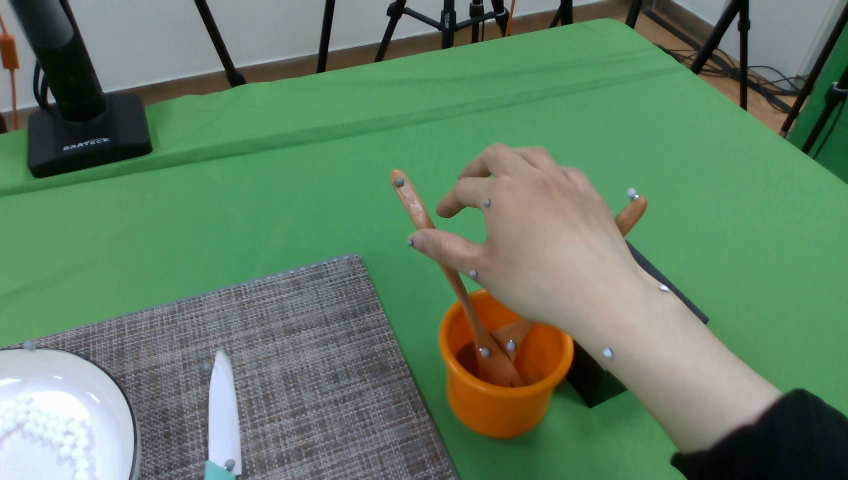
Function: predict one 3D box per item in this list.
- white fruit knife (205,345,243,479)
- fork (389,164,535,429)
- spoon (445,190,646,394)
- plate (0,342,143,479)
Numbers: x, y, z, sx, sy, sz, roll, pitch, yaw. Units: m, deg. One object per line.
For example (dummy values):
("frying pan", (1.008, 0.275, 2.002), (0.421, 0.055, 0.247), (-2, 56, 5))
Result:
("white fruit knife", (-0.134, 0.153, 0.405), (0.027, 0.016, 0.205), (15, 36, -31))
("fork", (0.025, 0.040, 0.430), (0.028, 0.018, 0.207), (-28, 96, -12))
("spoon", (0.085, 0.040, 0.428), (0.041, 0.194, 0.021), (43, 18, 3))
("plate", (-0.281, 0.159, 0.377), (0.209, 0.038, 0.207), (1, 45, -1))
